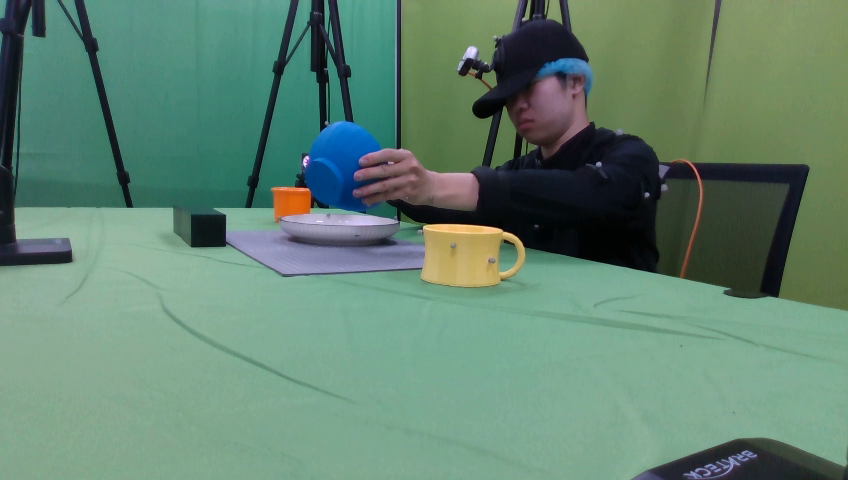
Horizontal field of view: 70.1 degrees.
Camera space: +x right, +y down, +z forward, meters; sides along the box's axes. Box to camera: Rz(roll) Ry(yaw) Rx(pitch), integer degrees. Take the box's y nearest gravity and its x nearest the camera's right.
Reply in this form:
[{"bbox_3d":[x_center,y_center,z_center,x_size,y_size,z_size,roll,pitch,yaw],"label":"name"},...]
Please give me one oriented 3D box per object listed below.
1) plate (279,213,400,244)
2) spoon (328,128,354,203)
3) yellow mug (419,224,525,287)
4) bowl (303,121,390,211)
[{"bbox_3d":[-0.147,-0.020,1.060,0.209,0.038,0.209,3,7,0],"label":"plate"},{"bbox_3d":[-0.148,-0.134,1.045,0.042,0.021,0.193,-1,43,-11],"label":"spoon"},{"bbox_3d":[0.061,0.018,0.746,0.131,0.064,0.100,2,7,-7],"label":"yellow mug"},{"bbox_3d":[-0.136,-0.104,0.955,0.150,0.151,0.077,8,31,35],"label":"bowl"}]
